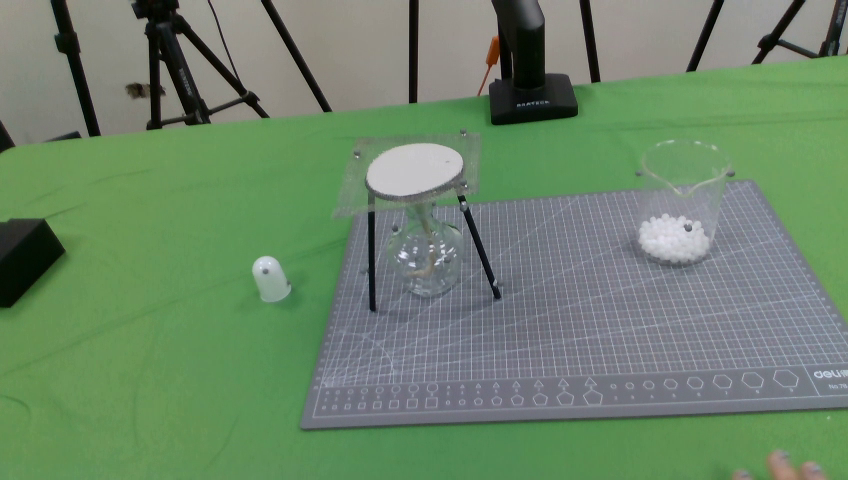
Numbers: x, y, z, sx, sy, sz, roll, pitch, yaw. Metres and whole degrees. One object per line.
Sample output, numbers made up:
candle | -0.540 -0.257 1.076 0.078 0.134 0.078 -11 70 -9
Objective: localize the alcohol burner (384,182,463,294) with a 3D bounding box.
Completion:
alcohol burner | -0.002 -0.006 0.575 0.078 0.120 0.077 -5 40 4

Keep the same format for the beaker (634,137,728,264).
beaker | 0.236 -0.033 0.568 0.073 0.101 0.083 5 42 19

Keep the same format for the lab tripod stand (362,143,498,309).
lab tripod stand | -0.002 -0.015 0.570 0.148 0.133 0.147 -7 37 6

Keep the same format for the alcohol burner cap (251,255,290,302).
alcohol burner cap | -0.159 0.036 0.620 0.034 0.048 0.033 -6 40 5

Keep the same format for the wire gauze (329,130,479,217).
wire gauze | -0.013 -0.064 0.525 0.121 0.011 0.124 -5 37 9
